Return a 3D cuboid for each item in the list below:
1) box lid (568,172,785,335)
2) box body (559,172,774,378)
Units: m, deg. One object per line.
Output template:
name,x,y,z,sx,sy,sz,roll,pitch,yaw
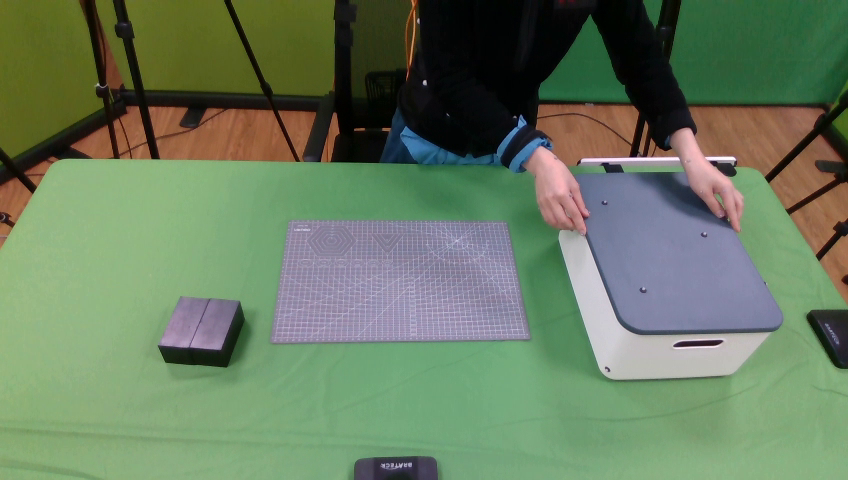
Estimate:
box lid,0.407,0.007,1.019,0.263,0.015,0.369,-1,45,-5
box body,0.405,0.057,1.074,0.254,0.161,0.361,-2,46,-5
